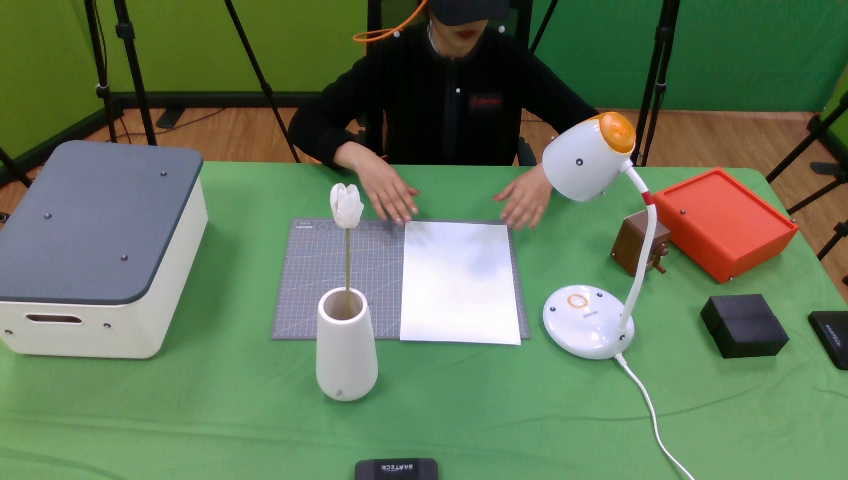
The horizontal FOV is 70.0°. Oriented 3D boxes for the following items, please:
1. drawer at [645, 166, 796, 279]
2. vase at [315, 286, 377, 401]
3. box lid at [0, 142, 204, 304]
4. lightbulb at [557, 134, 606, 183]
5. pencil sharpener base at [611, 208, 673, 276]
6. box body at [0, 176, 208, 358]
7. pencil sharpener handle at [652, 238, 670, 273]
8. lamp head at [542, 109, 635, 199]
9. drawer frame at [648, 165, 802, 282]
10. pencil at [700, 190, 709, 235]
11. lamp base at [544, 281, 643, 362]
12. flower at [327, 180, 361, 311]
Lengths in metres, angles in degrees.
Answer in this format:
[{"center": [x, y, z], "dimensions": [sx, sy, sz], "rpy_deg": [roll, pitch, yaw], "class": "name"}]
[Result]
[{"center": [0.600, -0.040, 1.236], "dimensions": [0.195, 0.073, 0.210], "rpy_deg": [-21, 52, -23], "class": "drawer"}, {"center": [-0.119, 0.159, 0.911], "dimensions": [0.098, 0.201, 0.097], "rpy_deg": [2, 47, -2], "class": "vase"}, {"center": [-0.534, -0.044, 0.995], "dimensions": [0.263, 0.015, 0.369], "rpy_deg": [3, 45, -3], "class": "box lid"}, {"center": [0.242, -0.127, 0.916], "dimensions": [0.059, 0.108, 0.059], "rpy_deg": [5, 68, -12], "class": "lightbulb"}, {"center": [0.416, 0.007, 1.158], "dimensions": [0.061, 0.107, 0.076], "rpy_deg": [-20, 51, -22], "class": "pencil sharpener base"}, {"center": [-0.546, 0.017, 1.045], "dimensions": [0.254, 0.161, 0.361], "rpy_deg": [2, 46, -2], "class": "box body"}, {"center": [0.443, 0.030, 1.120], "dimensions": [0.036, 0.068, 0.030], "rpy_deg": [-24, 52, -17], "class": "pencil sharpener handle"}, {"center": [0.253, -0.131, 0.893], "dimensions": [0.113, 0.123, 0.112], "rpy_deg": [10, 66, -24], "class": "lamp head"}, {"center": [0.603, -0.040, 1.233], "dimensions": [0.202, 0.083, 0.212], "rpy_deg": [-21, 51, -23], "class": "drawer frame"}, {"center": [0.583, -0.058, 1.257], "dimensions": [0.012, 0.012, 0.193], "rpy_deg": [16, 35, 12], "class": "pencil"}, {"center": [0.304, 0.095, 1.014], "dimensions": [0.161, 0.181, 0.178], "rpy_deg": [-24, 54, -24], "class": "lamp base"}, {"center": [-0.110, 0.086, 0.867], "dimensions": [0.044, 0.363, 0.038], "rpy_deg": [22, 33, 35], "class": "flower"}]
